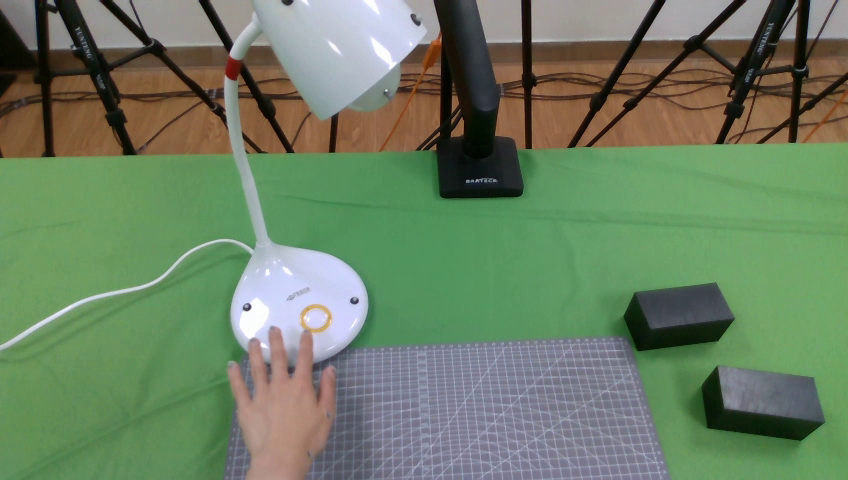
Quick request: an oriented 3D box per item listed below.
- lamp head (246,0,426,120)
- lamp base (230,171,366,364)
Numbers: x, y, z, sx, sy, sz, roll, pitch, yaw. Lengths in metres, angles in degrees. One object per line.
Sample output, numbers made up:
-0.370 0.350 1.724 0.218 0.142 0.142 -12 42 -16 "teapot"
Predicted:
-0.079 -0.169 0.464 0.124 0.112 0.112 45 53 -18 "lamp head"
-0.158 0.021 0.670 0.177 0.182 0.160 35 57 28 "lamp base"
